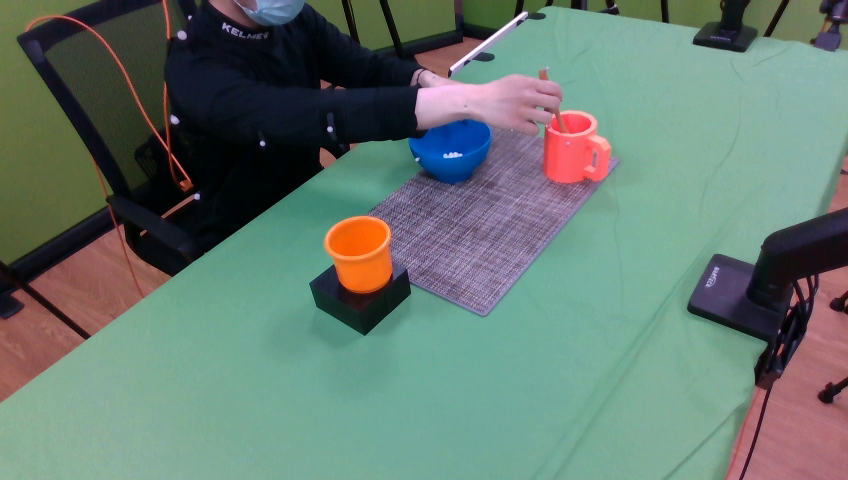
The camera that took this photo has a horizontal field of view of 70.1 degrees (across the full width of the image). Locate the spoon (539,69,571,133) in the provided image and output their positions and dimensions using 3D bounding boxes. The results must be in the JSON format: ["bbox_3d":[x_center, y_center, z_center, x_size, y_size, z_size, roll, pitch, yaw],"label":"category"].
[{"bbox_3d":[0.224,-0.203,1.003,0.041,0.195,0.021,-13,40,26],"label":"spoon"}]

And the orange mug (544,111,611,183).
[{"bbox_3d":[0.266,-0.157,1.049,0.084,0.101,0.125,-33,42,-27],"label":"orange mug"}]

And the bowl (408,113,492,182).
[{"bbox_3d":[0.049,-0.158,1.097,0.151,0.077,0.150,-4,41,4],"label":"bowl"}]
